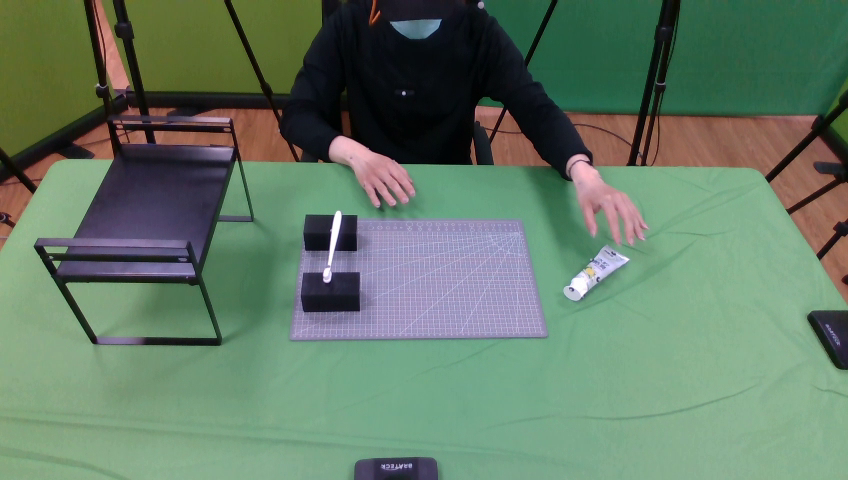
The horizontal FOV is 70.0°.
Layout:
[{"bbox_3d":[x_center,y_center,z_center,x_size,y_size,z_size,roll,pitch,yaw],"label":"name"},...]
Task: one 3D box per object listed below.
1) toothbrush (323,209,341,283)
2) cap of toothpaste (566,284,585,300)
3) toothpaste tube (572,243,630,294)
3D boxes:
[{"bbox_3d":[-0.167,0.005,1.106,0.014,0.017,0.180,-5,45,7],"label":"toothbrush"},{"bbox_3d":[0.278,0.094,1.111,0.037,0.037,0.011,27,53,20],"label":"cap of toothpaste"},{"bbox_3d":[0.334,0.057,1.157,0.055,0.034,0.165,41,52,20],"label":"toothpaste tube"}]
